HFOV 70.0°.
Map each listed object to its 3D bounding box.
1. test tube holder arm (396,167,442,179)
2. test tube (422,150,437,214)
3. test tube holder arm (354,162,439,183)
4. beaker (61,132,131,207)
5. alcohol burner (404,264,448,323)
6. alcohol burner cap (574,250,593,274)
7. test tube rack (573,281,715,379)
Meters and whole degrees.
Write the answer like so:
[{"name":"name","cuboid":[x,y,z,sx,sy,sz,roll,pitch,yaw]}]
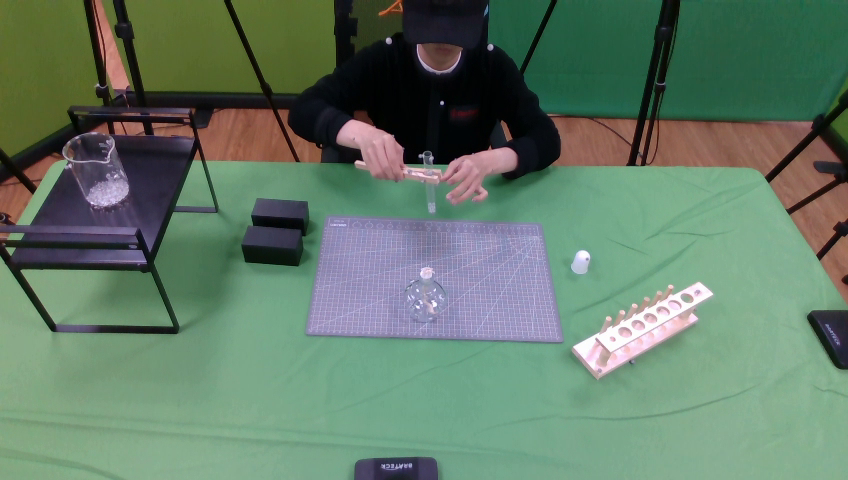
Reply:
[{"name":"test tube holder arm","cuboid":[-0.010,-0.119,1.072,0.087,0.015,0.010,7,44,23]},{"name":"test tube","cuboid":[0.011,-0.100,1.076,0.017,0.151,0.017,-3,50,4]},{"name":"test tube holder arm","cuboid":[-0.052,-0.122,1.088,0.178,0.015,0.013,11,45,27]},{"name":"beaker","cuboid":[-0.512,-0.107,0.959,0.083,0.101,0.074,29,51,22]},{"name":"alcohol burner","cuboid":[0.003,0.087,1.042,0.078,0.120,0.077,1,45,0]},{"name":"alcohol burner cap","cuboid":[0.308,0.039,1.163,0.034,0.048,0.033,1,46,-1]},{"name":"test tube rack","cuboid":[0.378,0.140,1.038,0.242,0.085,0.066,-22,51,-23]}]
